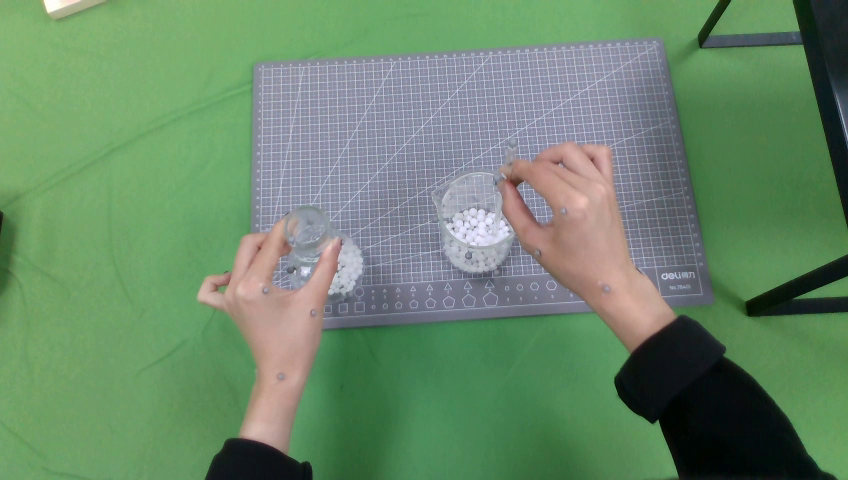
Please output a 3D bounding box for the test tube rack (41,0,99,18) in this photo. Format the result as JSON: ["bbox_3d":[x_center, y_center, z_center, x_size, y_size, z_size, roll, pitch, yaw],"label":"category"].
[{"bbox_3d":[-0.330,-0.342,0.672,0.242,0.085,0.066,-24,74,-6],"label":"test tube rack"}]

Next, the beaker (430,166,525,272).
[{"bbox_3d":[0.046,-0.016,0.560,0.084,0.101,0.073,20,74,8],"label":"beaker"}]

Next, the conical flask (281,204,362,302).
[{"bbox_3d":[-0.096,0.006,0.538,0.075,0.122,0.075,1,71,-1],"label":"conical flask"}]

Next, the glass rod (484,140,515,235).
[{"bbox_3d":[0.060,-0.037,0.503,0.008,0.201,0.008,0,73,1],"label":"glass rod"}]
